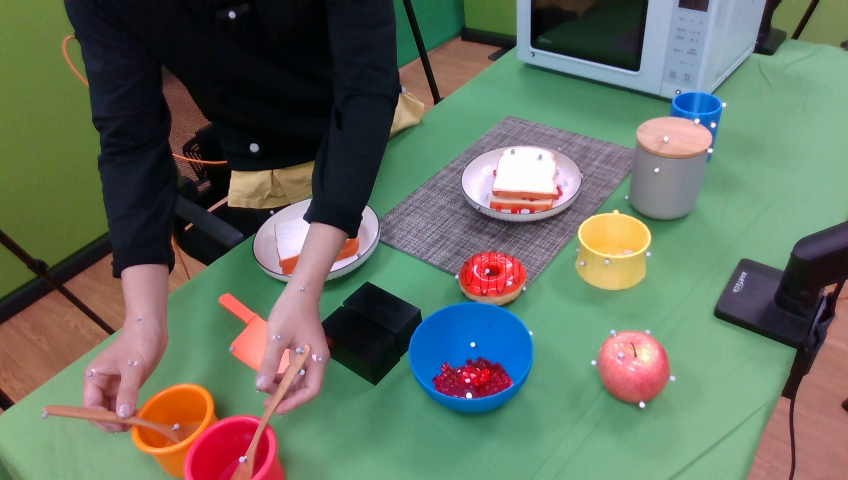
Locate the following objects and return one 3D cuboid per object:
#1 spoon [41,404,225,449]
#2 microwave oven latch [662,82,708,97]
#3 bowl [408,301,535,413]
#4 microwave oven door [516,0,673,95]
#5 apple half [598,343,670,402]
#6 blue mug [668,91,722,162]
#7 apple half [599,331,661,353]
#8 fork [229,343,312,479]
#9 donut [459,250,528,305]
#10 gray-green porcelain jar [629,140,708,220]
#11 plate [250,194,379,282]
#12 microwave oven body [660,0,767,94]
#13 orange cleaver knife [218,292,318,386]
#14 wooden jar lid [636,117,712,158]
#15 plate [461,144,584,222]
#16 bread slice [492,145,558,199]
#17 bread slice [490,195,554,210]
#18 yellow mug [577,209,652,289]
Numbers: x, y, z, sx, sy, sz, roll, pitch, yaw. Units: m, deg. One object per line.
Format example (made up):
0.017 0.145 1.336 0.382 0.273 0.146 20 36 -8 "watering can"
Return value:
-0.321 0.205 0.681 0.195 0.021 0.041 26 26 -33 "spoon"
0.517 -0.298 1.202 0.078 0.029 0.030 27 52 34 "microwave oven latch"
0.060 0.156 0.739 0.151 0.077 0.150 -4 40 4 "bowl"
0.344 -0.458 1.256 0.353 0.245 0.039 26 51 33 "microwave oven door"
0.247 0.161 0.710 0.081 0.075 0.053 2 47 5 "apple half"
0.475 -0.207 1.078 0.082 0.106 0.116 4 42 13 "blue mug"
0.249 0.135 0.738 0.081 0.081 0.032 -2 45 7 "apple half"
-0.173 0.205 0.662 0.028 0.019 0.207 29 94 35 "fork"
0.100 0.053 0.872 0.099 0.048 0.098 -4 40 4 "donut"
0.383 -0.104 0.958 0.106 0.127 0.105 -4 41 4 "gray-green porcelain jar"
-0.174 -0.001 0.984 0.209 0.038 0.208 -3 40 3 "plate"
0.473 -0.516 1.313 0.438 0.261 0.327 26 51 34 "microwave oven body"
-0.235 0.136 0.850 0.209 0.012 0.077 26 57 30 "orange cleaver knife"
0.377 -0.151 0.917 0.108 0.021 0.108 -2 41 3 "wooden jar lid"
0.167 -0.095 1.040 0.207 0.039 0.206 -4 40 4 "plate"
0.172 -0.118 1.028 0.107 0.018 0.134 3 44 7 "bread slice"
0.173 -0.099 1.047 0.104 0.019 0.131 2 42 12 "bread slice"
0.279 0.005 0.893 0.099 0.064 0.130 5 41 15 "yellow mug"
